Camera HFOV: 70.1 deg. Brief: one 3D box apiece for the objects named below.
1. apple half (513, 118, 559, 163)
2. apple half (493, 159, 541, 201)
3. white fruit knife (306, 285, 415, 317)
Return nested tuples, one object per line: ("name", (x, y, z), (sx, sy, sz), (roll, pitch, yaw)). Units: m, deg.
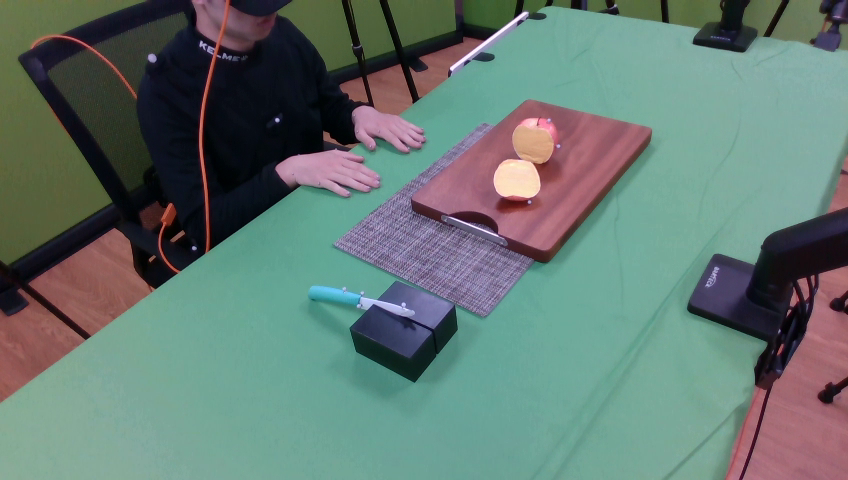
("apple half", (0.202, -0.179, 1.066), (0.080, 0.075, 0.053), (14, 41, 29))
("apple half", (0.153, -0.095, 0.999), (0.081, 0.033, 0.081), (-1, 65, 2))
("white fruit knife", (-0.092, 0.085, 0.837), (0.206, 0.027, 0.016), (6, 36, 36))
